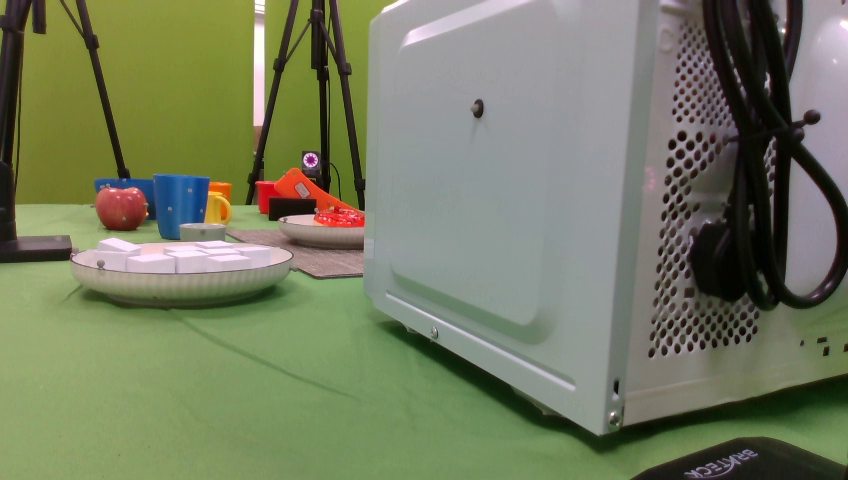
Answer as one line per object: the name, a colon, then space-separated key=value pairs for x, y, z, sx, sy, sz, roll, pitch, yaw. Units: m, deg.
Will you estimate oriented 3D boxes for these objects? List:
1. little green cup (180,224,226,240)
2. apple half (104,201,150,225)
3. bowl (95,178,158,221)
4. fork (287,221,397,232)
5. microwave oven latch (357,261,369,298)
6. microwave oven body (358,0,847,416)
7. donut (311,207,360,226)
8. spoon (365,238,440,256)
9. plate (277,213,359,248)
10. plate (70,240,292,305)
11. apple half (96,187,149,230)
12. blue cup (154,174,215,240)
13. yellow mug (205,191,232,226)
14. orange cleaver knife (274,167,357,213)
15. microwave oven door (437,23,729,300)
little green cup: x=-0.309 y=-0.001 z=0.846 sx=0.061 sy=0.038 sz=0.061 roll=2 pitch=8 yaw=0
apple half: x=-0.548 y=-0.044 z=1.115 sx=0.081 sy=0.033 sz=0.081 roll=18 pitch=6 yaw=-2
bowl: x=-0.576 y=-0.081 z=1.217 sx=0.151 sy=0.077 sz=0.151 roll=3 pitch=8 yaw=0
fork: x=-0.148 y=-0.025 z=1.120 sx=0.208 sy=0.018 sz=0.028 roll=-3 pitch=5 yaw=-22
microwave oven latch: x=-0.019 y=0.033 z=0.530 sx=0.079 sy=0.029 sz=0.030 roll=-1 pitch=7 yaw=-26
microwave oven body: x=0.211 y=-0.047 z=0.474 sx=0.444 sy=0.260 sz=0.324 roll=-1 pitch=7 yaw=-28
donut: x=-0.137 y=-0.029 z=0.995 sx=0.099 sy=0.048 sz=0.099 roll=4 pitch=9 yaw=0
spoon: x=-0.024 y=0.006 z=0.907 sx=0.041 sy=0.021 sz=0.194 roll=-15 pitch=-2 yaw=30
plate: x=-0.135 y=-0.017 z=0.992 sx=0.209 sy=0.038 sz=0.209 roll=3 pitch=8 yaw=0
plate: x=-0.242 y=0.031 z=0.618 sx=0.208 sy=0.039 sz=0.207 roll=2 pitch=8 yaw=0
apple half: x=-0.516 y=-0.052 z=1.036 sx=0.081 sy=0.074 sz=0.053 roll=3 pitch=11 yaw=-27
blue cup: x=-0.391 y=-0.053 z=0.978 sx=0.093 sy=0.100 sz=0.092 roll=4 pitch=6 yaw=0
yellow mug: x=-0.415 y=-0.057 z=1.131 sx=0.130 sy=0.064 sz=0.100 roll=6 pitch=8 yaw=16
orange cleaver knife: x=-0.238 y=-0.090 z=1.381 sx=0.212 sy=0.077 sz=0.012 roll=31 pitch=0 yaw=-19
microwave oven door: x=0.181 y=-0.072 z=0.621 sx=0.358 sy=0.243 sz=0.039 roll=-2 pitch=8 yaw=-29
